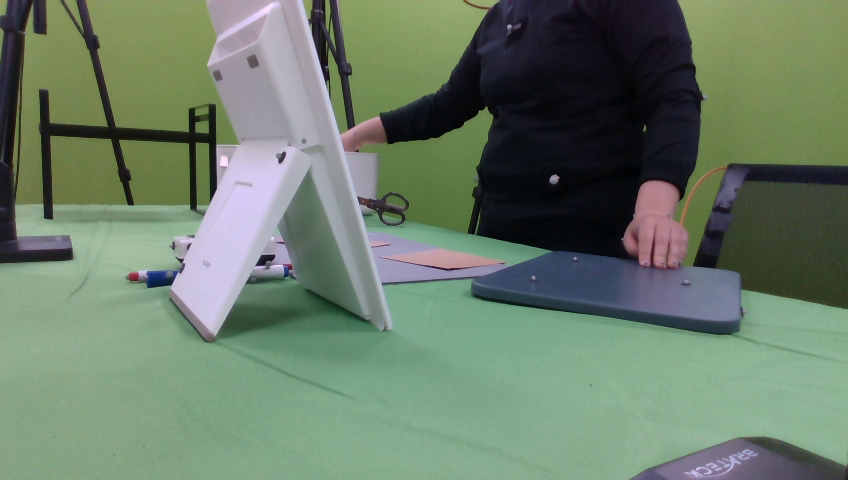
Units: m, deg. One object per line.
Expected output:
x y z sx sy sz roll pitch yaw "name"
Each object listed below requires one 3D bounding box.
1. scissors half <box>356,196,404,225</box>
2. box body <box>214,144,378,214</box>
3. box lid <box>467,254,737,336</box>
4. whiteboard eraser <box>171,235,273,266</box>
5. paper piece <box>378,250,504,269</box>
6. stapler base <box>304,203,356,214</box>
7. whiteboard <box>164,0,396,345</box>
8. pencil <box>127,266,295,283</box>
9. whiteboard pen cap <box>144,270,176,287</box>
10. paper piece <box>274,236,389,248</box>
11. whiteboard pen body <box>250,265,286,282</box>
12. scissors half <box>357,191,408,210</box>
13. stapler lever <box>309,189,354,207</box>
-0.127 -0.072 1.321 0.175 0.040 0.013 22 4 -5 "scissors half"
-0.328 -0.154 1.543 0.366 0.160 0.253 -2 9 -32 "box body"
0.234 0.055 0.735 0.262 0.015 0.373 7 7 27 "box lid"
-0.248 0.014 0.747 0.113 0.042 0.055 -1 10 -32 "whiteboard eraser"
0.025 0.027 0.865 0.134 0.004 0.136 9 9 43 "paper piece"
-0.234 -0.080 1.510 0.131 0.024 0.041 1 12 -36 "stapler base"
-0.173 -0.053 0.511 0.144 0.305 0.216 -23 19 -26 "whiteboard"
-0.231 0.037 0.691 0.195 0.012 0.012 -2 9 -34 "pencil"
-0.271 0.039 0.627 0.033 0.018 0.018 -3 10 -32 "whiteboard pen cap"
-0.151 0.003 0.978 0.135 0.008 0.139 13 10 35 "paper piece"
-0.220 0.039 0.656 0.141 0.017 0.017 -2 9 -30 "whiteboard pen body"
-0.123 -0.092 1.318 0.175 0.040 0.013 5 10 -4 "scissors half"
-0.230 -0.105 1.508 0.119 0.040 0.026 1 12 -36 "stapler lever"
